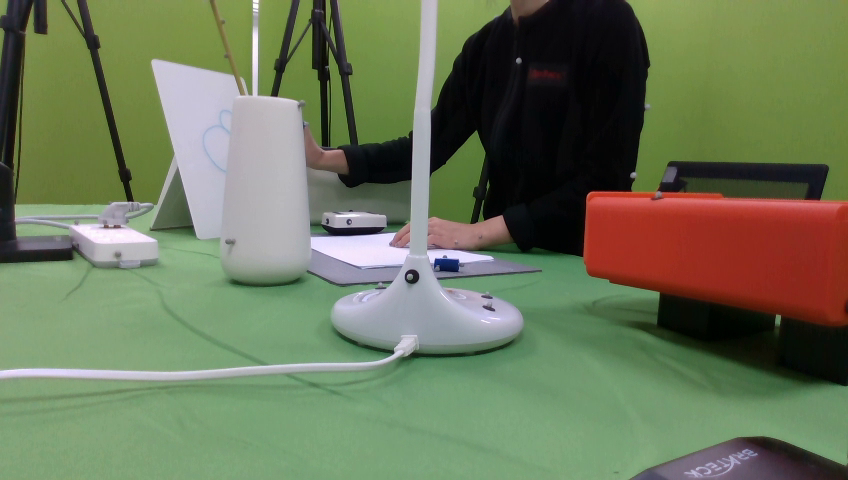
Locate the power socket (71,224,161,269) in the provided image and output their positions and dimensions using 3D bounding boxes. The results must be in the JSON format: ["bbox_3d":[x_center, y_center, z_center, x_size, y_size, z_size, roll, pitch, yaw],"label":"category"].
[{"bbox_3d":[-0.408,0.004,0.793,0.072,0.032,0.225,-2,8,-38],"label":"power socket"}]

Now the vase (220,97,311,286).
[{"bbox_3d":[-0.172,-0.052,0.662,0.098,0.200,0.098,3,9,0],"label":"vase"}]

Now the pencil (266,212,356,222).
[{"bbox_3d":[-0.244,-0.049,1.318,0.195,0.012,0.012,4,7,-12],"label":"pencil"}]

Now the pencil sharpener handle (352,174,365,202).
[{"bbox_3d":[-0.156,-0.125,1.450,0.031,0.068,0.036,1,19,-11],"label":"pencil sharpener handle"}]

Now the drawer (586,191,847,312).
[{"bbox_3d":[0.281,0.001,0.513,0.195,0.073,0.210,-1,8,-29],"label":"drawer"}]

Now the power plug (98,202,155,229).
[{"bbox_3d":[-0.416,-0.027,0.848,0.073,0.052,0.035,0,8,-28],"label":"power plug"}]

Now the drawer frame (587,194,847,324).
[{"bbox_3d":[0.285,0.004,0.508,0.203,0.082,0.212,-1,6,-29],"label":"drawer frame"}]

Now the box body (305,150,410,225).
[{"bbox_3d":[-0.230,-0.126,1.372,0.366,0.160,0.253,-2,9,-33],"label":"box body"}]

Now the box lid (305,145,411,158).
[{"bbox_3d":[-0.228,-0.200,1.361,0.373,0.015,0.262,-1,8,-33],"label":"box lid"}]

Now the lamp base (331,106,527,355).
[{"bbox_3d":[0.006,-0.012,0.478,0.161,0.180,0.179,2,10,2],"label":"lamp base"}]

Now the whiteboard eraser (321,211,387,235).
[{"bbox_3d":[-0.128,-0.031,1.108,0.113,0.042,0.055,-4,8,-38],"label":"whiteboard eraser"}]

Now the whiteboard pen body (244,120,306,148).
[{"bbox_3d":[-0.270,-0.187,1.083,0.140,0.017,0.017,-14,0,25],"label":"whiteboard pen body"}]

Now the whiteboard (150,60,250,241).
[{"bbox_3d":[-0.408,-0.139,1.093,0.143,0.305,0.218,-15,-1,26],"label":"whiteboard"}]

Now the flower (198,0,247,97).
[{"bbox_3d":[-0.187,-0.133,0.648,0.038,0.362,0.044,0,21,43],"label":"flower"}]

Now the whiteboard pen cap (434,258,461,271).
[{"bbox_3d":[0.029,0.031,0.770,0.033,0.018,0.018,4,8,8],"label":"whiteboard pen cap"}]

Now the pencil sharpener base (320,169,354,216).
[{"bbox_3d":[-0.207,-0.113,1.439,0.077,0.107,0.061,2,6,-11],"label":"pencil sharpener base"}]
